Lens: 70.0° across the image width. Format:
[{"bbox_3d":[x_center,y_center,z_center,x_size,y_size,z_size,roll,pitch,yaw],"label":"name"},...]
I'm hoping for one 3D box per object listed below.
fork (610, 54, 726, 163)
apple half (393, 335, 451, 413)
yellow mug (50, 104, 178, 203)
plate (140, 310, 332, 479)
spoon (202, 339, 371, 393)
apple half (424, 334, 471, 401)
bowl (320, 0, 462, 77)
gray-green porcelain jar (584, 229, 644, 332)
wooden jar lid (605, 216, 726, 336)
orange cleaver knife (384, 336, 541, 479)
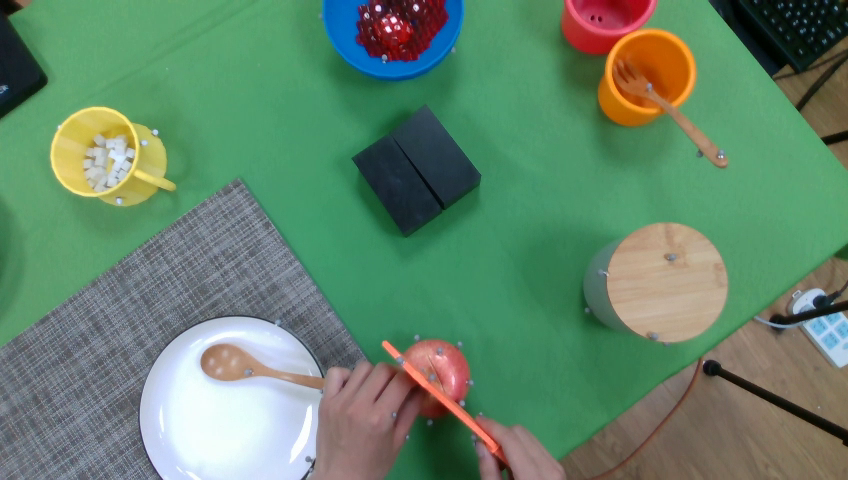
[{"bbox_3d":[0.243,-0.138,0.613,0.028,0.019,0.205,-20,42,0],"label":"fork"},{"bbox_3d":[-0.005,0.147,0.644,0.053,0.075,0.080,-26,88,3],"label":"apple half"},{"bbox_3d":[-0.338,-0.089,0.681,0.131,0.064,0.100,25,87,3],"label":"yellow mug"},{"bbox_3d":[-0.202,0.181,0.665,0.209,0.038,0.208,0,86,3],"label":"plate"},{"bbox_3d":[-0.150,0.142,0.651,0.193,0.022,0.041,9,74,16],"label":"spoon"},{"bbox_3d":[0.032,0.128,0.641,0.033,0.081,0.081,-28,84,8],"label":"apple half"},{"bbox_3d":[-0.033,-0.245,0.670,0.151,0.077,0.151,0,86,3],"label":"bowl"},{"bbox_3d":[0.222,0.039,0.614,0.106,0.127,0.105,0,85,3],"label":"gray-green porcelain jar"},{"bbox_3d":[0.218,0.033,0.552,0.108,0.021,0.108,0,88,1],"label":"wooden jar lid"},{"bbox_3d":[0.038,0.161,0.567,0.012,0.076,0.213,-46,115,-6],"label":"orange cleaver knife"}]
